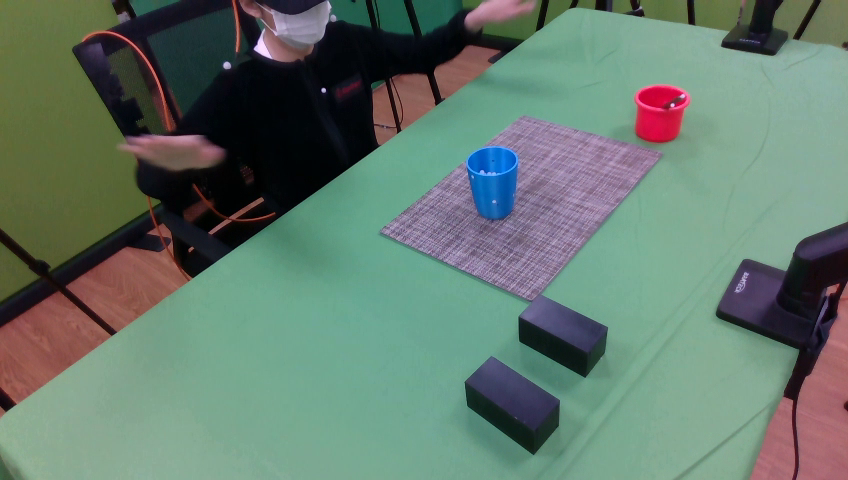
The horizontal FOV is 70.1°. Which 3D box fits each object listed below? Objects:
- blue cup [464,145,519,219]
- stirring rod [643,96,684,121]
[{"bbox_3d":[0.115,-0.090,0.996,0.092,0.101,0.092,-5,41,5],"label":"blue cup"},{"bbox_3d":[0.433,-0.238,1.100,0.014,0.006,0.176,-2,-1,2],"label":"stirring rod"}]
